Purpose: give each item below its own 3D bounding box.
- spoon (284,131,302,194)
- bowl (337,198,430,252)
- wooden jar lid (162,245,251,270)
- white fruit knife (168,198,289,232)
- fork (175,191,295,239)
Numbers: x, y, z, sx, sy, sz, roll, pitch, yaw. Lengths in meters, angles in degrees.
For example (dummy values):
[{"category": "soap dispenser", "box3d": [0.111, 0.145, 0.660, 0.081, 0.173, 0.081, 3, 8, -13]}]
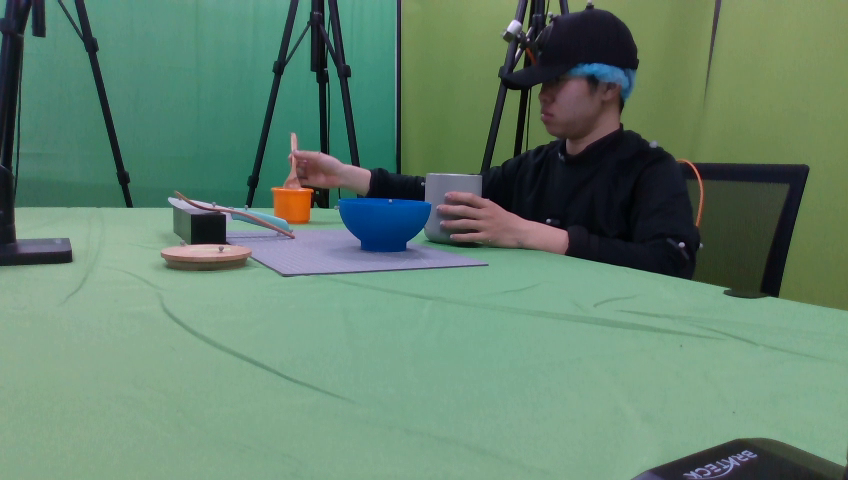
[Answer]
[{"category": "spoon", "box3d": [-0.293, -0.177, 1.367, 0.042, 0.193, 0.021, 12, -36, -24]}, {"category": "bowl", "box3d": [-0.066, -0.024, 0.967, 0.151, 0.077, 0.151, 3, 7, 0]}, {"category": "wooden jar lid", "box3d": [-0.278, 0.022, 0.777, 0.108, 0.020, 0.108, 2, 6, 0]}, {"category": "white fruit knife", "box3d": [-0.329, -0.044, 1.036, 0.208, 0.027, 0.016, 14, -1, -32]}, {"category": "fork", "box3d": [-0.305, -0.039, 0.993, 0.208, 0.018, 0.028, 20, -9, -34]}]
